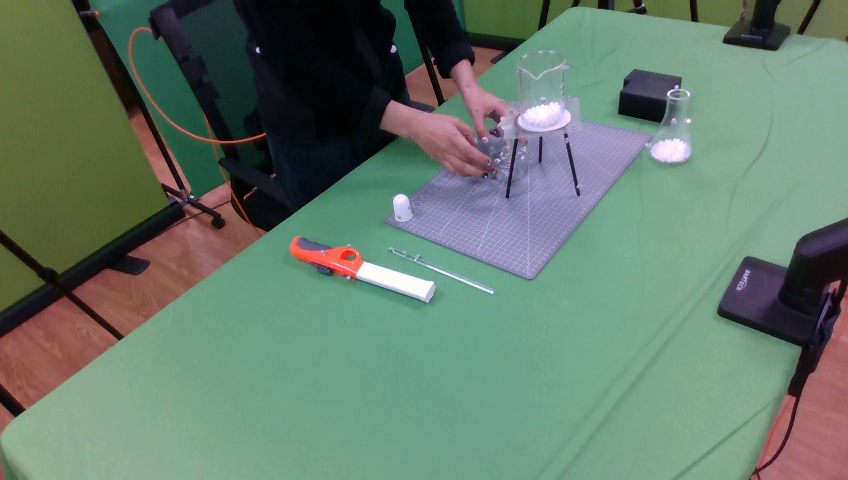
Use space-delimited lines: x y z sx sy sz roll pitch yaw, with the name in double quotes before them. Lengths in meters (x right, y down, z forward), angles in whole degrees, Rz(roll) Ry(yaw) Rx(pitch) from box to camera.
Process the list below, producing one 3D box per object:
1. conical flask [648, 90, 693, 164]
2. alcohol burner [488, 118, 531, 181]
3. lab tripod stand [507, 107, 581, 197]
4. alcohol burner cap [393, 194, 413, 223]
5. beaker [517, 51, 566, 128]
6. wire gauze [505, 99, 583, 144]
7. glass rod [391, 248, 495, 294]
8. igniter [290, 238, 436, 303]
"conical flask" 0.437 -0.199 1.057 0.075 0.122 0.075 -5 40 5
"alcohol burner" 0.151 -0.166 1.076 0.078 0.119 0.077 -6 41 6
"lab tripod stand" 0.201 -0.151 1.033 0.148 0.132 0.147 -7 39 6
"alcohol burner cap" -0.038 -0.056 1.038 0.034 0.048 0.033 -5 40 5
"beaker" 0.186 -0.235 0.957 0.073 0.101 0.084 4 42 18
"wire gauze" 0.195 -0.199 0.988 0.121 0.011 0.124 -3 41 13
"glass rod" 0.026 0.046 0.936 0.198 0.008 0.008 22 50 32
"igniter" -0.106 0.044 0.949 0.274 0.025 0.057 16 57 27
